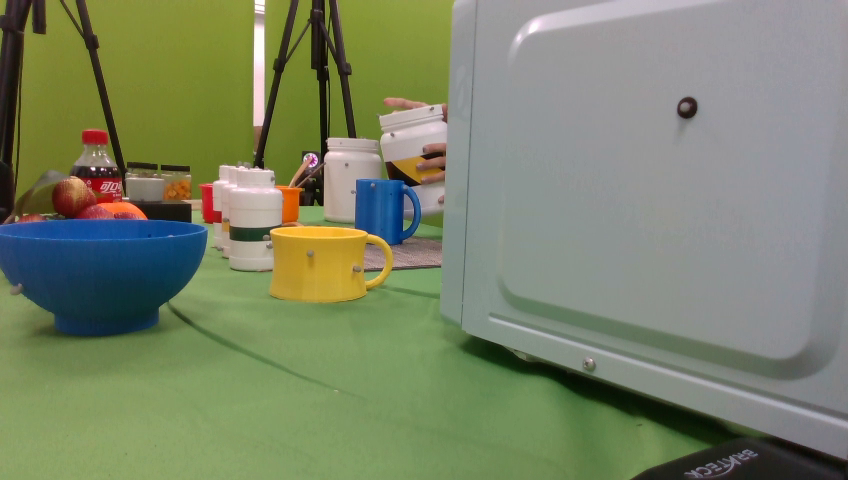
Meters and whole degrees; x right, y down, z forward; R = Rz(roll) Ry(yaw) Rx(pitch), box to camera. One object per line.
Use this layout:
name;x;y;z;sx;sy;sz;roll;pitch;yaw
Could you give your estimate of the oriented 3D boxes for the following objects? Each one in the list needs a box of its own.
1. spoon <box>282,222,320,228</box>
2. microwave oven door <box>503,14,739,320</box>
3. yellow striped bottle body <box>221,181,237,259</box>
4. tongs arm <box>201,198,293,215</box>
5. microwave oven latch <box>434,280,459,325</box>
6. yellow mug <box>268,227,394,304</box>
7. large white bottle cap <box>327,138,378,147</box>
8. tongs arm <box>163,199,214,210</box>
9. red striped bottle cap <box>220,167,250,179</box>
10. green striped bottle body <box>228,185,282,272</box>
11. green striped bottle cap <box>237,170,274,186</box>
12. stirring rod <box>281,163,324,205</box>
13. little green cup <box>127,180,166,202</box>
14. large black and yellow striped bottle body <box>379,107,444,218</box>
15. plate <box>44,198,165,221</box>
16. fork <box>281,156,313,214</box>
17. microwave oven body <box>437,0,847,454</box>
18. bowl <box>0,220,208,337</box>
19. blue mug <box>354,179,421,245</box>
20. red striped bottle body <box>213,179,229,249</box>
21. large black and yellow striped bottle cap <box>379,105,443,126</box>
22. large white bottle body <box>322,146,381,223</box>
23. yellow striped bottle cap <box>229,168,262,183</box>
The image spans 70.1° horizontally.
spoon;-0.227;-0.023;1.085;0.042;0.021;0.193;-24;18;-23
microwave oven door;0.218;-0.065;0.600;0.358;0.243;0.039;-4;10;-41
yellow striped bottle body;-0.244;-0.035;0.823;0.063;0.120;0.063;2;8;0
tongs arm;-0.423;-0.084;1.472;0.050;0.026;0.386;2;6;21
microwave oven latch;0.044;0.045;0.470;0.079;0.029;0.030;-2;8;-39
yellow mug;-0.094;0.023;0.629;0.131;0.064;0.099;0;7;-22
large white bottle cap;-0.160;-0.218;1.357;0.115;0.018;0.115;2;8;0
tongs arm;-0.504;-0.091;1.513;0.028;0.028;0.389;0;4;37
red striped bottle cap;-0.281;-0.100;0.901;0.044;0.017;0.044;-1;5;0
green striped bottle body;-0.208;-0.023;0.745;0.063;0.119;0.063;2;7;0
green striped bottle cap;-0.205;-0.075;0.737;0.044;0.020;0.044;1;5;0
stirring rod;-0.278;-0.105;1.293;0.176;0.006;0.014;-47;25;-18
little green cup;-0.486;-0.086;1.061;0.061;0.038;0.061;1;7;0
large black and yellow striped bottle body;-0.007;-0.142;1.097;0.131;0.184;0.130;-11;11;2
plate;-0.617;-0.056;1.179;0.209;0.038;0.209;3;7;0
fork;-0.289;-0.116;1.320;0.028;0.019;0.207;-1;48;27
microwave oven body;0.279;-0.040;0.464;0.444;0.260;0.324;-3;9;-41
bowl;-0.251;0.029;0.479;0.151;0.077;0.151;2;7;0
blue mug;-0.060;-0.046;1.006;0.116;0.106;0.082;5;8;20
red striped bottle body;-0.284;-0.047;0.908;0.063;0.119;0.063;2;8;0
large black and yellow striped bottle cap;-0.023;-0.223;1.083;0.115;0.019;0.115;-11;11;3
large white bottle body;-0.163;-0.135;1.368;0.131;0.184;0.130;2;7;0
yellow striped bottle cap;-0.240;-0.087;0.816;0.044;0.018;0.044;-3;5;1
